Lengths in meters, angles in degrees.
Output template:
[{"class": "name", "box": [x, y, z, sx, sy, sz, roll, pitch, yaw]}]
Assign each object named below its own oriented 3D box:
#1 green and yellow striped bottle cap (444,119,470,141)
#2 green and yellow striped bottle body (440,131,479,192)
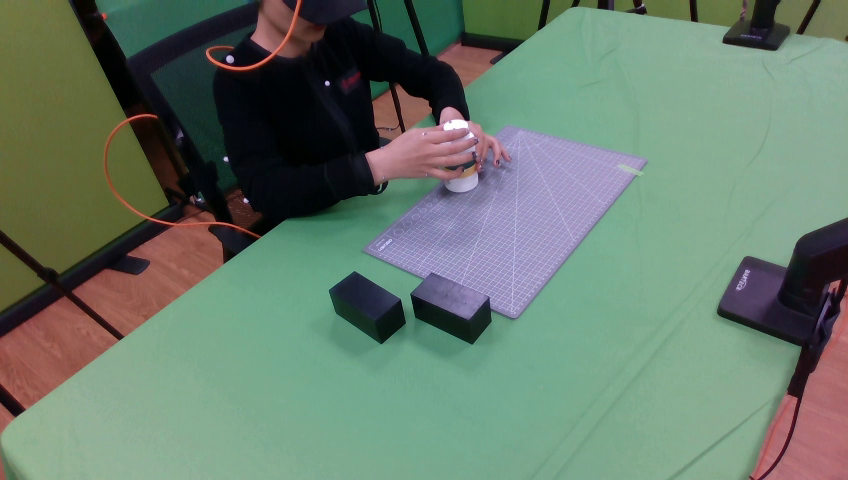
[{"class": "green and yellow striped bottle cap", "box": [0.056, -0.189, 1.033, 0.045, 0.020, 0.045, -5, 41, 5]}, {"class": "green and yellow striped bottle body", "box": [0.062, -0.149, 1.066, 0.063, 0.120, 0.063, -5, 40, 5]}]
